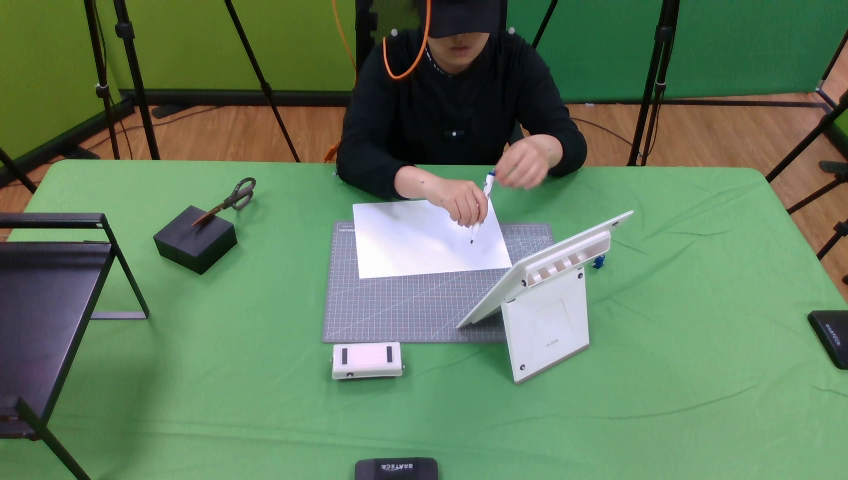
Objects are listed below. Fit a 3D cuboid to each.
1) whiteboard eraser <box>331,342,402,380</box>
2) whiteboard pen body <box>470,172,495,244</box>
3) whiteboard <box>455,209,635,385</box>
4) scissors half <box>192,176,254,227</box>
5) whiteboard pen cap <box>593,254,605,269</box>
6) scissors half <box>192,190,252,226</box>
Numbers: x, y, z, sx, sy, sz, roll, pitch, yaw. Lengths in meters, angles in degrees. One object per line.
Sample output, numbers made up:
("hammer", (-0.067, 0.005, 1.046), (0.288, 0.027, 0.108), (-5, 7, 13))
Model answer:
("whiteboard eraser", (-0.094, 0.198, 0.986), (0.113, 0.042, 0.055), (-2, 44, -6))
("whiteboard pen body", (0.107, -0.059, 1.134), (0.017, 0.141, 0.017), (15, 9, -2))
("whiteboard", (0.211, 0.110, 0.955), (0.217, 0.306, 0.143), (-21, 72, -23))
("scissors half", (-0.388, -0.075, 1.174), (0.013, 0.040, 0.174), (29, 47, 8))
("whiteboard pen cap", (0.341, 0.041, 1.179), (0.018, 0.033, 0.018), (1, 45, -1))
("scissors half", (-0.393, -0.060, 1.187), (0.013, 0.040, 0.175), (25, 29, 12))
